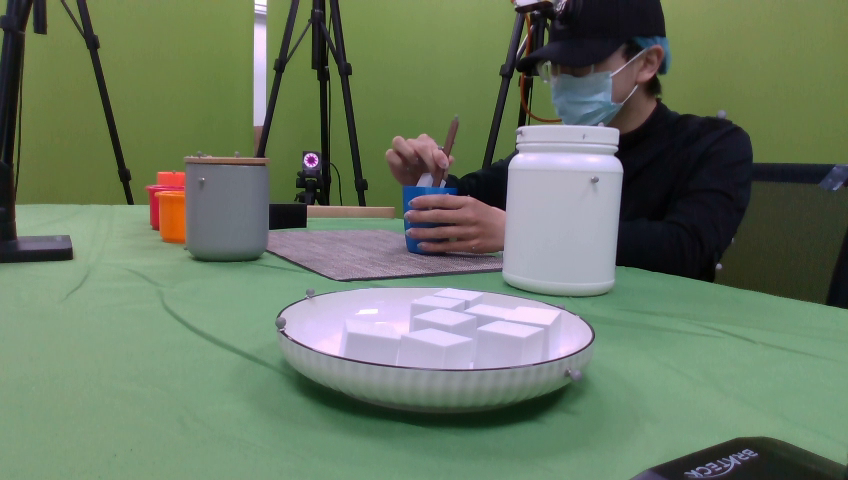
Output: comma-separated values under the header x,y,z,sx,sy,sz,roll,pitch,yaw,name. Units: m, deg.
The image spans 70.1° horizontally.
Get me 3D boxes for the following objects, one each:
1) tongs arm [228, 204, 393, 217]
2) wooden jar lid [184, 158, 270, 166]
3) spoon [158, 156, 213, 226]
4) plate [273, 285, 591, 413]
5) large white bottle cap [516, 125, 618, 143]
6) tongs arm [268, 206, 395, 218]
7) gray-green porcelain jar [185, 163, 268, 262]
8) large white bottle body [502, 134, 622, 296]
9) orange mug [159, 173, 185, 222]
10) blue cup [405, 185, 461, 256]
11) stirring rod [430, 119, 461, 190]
x,y,z,sx,sy,sz,roll,pitch,yaw,name
-0.267,-0.070,1.453,0.389,0.027,0.028,0,-1,-18,tongs arm
-0.260,-0.099,0.801,0.108,0.020,0.108,0,9,0,wooden jar lid
-0.435,-0.094,1.121,0.041,0.022,0.193,5,51,13,spoon
0.005,0.069,0.407,0.208,0.039,0.207,2,7,0,plate
0.164,-0.120,0.695,0.115,0.018,0.115,2,7,0,large white bottle cap
-0.230,-0.064,1.379,0.387,0.026,0.050,-1,3,-31,tongs arm
-0.263,-0.038,0.809,0.106,0.126,0.106,3,8,0,gray-green porcelain jar
0.160,-0.037,0.706,0.131,0.184,0.130,2,7,0,large white bottle body
-0.477,-0.089,1.241,0.127,0.101,0.083,-7,11,-33,orange mug
0.011,-0.029,0.921,0.093,0.100,0.092,4,9,0,blue cup
0.022,-0.096,0.904,0.014,0.176,0.006,21,5,37,stirring rod
